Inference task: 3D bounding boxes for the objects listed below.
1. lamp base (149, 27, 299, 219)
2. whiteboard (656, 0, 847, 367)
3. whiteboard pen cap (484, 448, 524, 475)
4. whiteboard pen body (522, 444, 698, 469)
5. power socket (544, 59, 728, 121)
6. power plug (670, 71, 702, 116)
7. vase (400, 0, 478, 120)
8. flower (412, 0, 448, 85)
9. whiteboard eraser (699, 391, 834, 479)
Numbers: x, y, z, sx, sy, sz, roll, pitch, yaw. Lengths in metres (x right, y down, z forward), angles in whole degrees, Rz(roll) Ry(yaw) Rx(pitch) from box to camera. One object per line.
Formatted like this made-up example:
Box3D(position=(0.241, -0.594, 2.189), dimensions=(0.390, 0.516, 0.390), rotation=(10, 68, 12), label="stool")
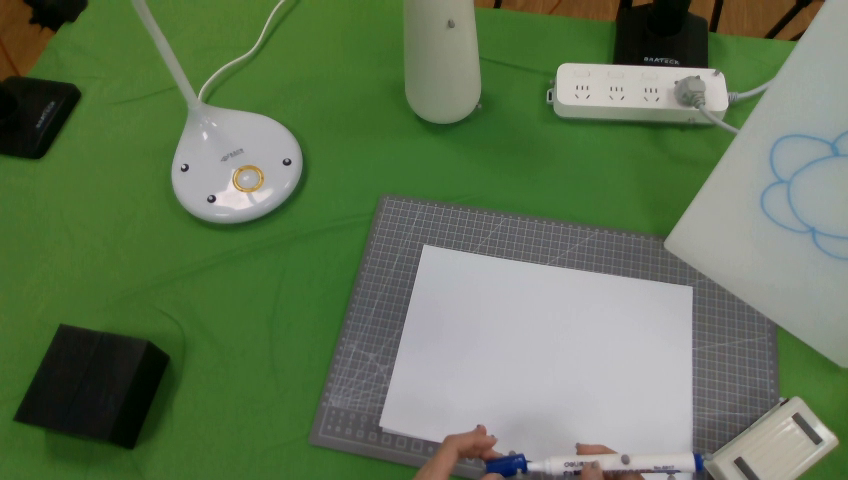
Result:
Box3D(position=(-0.248, -0.139, 0.688), dimensions=(0.160, 0.182, 0.177), rotation=(-41, 64, -17), label="lamp base")
Box3D(position=(0.414, -0.066, 0.578), dimensions=(0.215, 0.307, 0.144), rotation=(39, 50, 21), label="whiteboard")
Box3D(position=(0.067, 0.183, 0.500), dimensions=(0.033, 0.018, 0.018), rotation=(-17, 61, 13), label="whiteboard pen cap")
Box3D(position=(0.142, 0.172, 0.480), dimensions=(0.140, 0.017, 0.017), rotation=(-7, 61, 15), label="whiteboard pen body")
Box3D(position=(0.268, -0.191, 0.770), dimensions=(0.226, 0.033, 0.071), rotation=(4, 64, 5), label="power socket")
Box3D(position=(0.314, -0.172, 0.732), dimensions=(0.035, 0.053, 0.072), rotation=(14, 70, 10), label="power plug")
Box3D(position=(0.015, -0.234, 0.713), dimensions=(0.098, 0.201, 0.097), rotation=(-2, 61, 4), label="vase")
Box3D(position=(0.028, -0.262, 0.634), dimensions=(0.044, 0.362, 0.038), rotation=(-29, 81, -21), label="flower")
Box3D(position=(0.314, 0.192, 0.559), dimensions=(0.113, 0.042, 0.055), rotation=(-30, 64, -12), label="whiteboard eraser")
